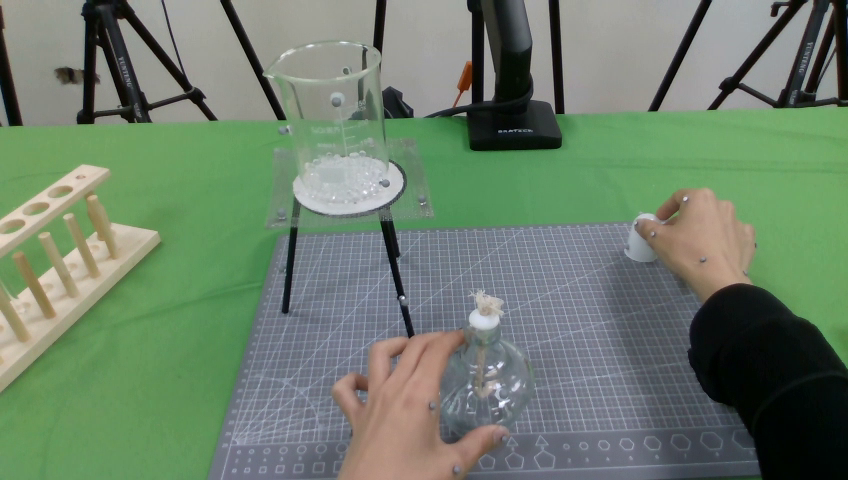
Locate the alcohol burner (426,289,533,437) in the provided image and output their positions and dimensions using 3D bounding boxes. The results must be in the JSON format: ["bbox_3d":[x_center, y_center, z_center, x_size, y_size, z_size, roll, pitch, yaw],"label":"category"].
[{"bbox_3d":[0.040,0.083,0.428,0.078,0.120,0.077,-1,36,1],"label":"alcohol burner"}]

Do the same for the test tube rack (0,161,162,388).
[{"bbox_3d":[-0.348,0.029,0.539,0.066,0.086,0.241,11,40,15],"label":"test tube rack"}]

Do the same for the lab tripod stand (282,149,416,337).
[{"bbox_3d":[-0.059,0.001,0.519,0.148,0.133,0.147,-2,40,2],"label":"lab tripod stand"}]

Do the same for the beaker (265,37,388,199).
[{"bbox_3d":[-0.067,-0.088,0.448,0.084,0.101,0.073,-6,38,-4],"label":"beaker"}]

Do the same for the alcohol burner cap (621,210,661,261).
[{"bbox_3d":[0.216,-0.007,0.596,0.034,0.048,0.033,1,40,0],"label":"alcohol burner cap"}]

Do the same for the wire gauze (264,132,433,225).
[{"bbox_3d":[-0.061,-0.050,0.479,0.125,0.011,0.120,-7,36,-3],"label":"wire gauze"}]

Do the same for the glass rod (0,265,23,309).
[{"bbox_3d":[-0.378,-0.023,0.499,0.008,0.201,0.008,-5,32,3],"label":"glass rod"}]
